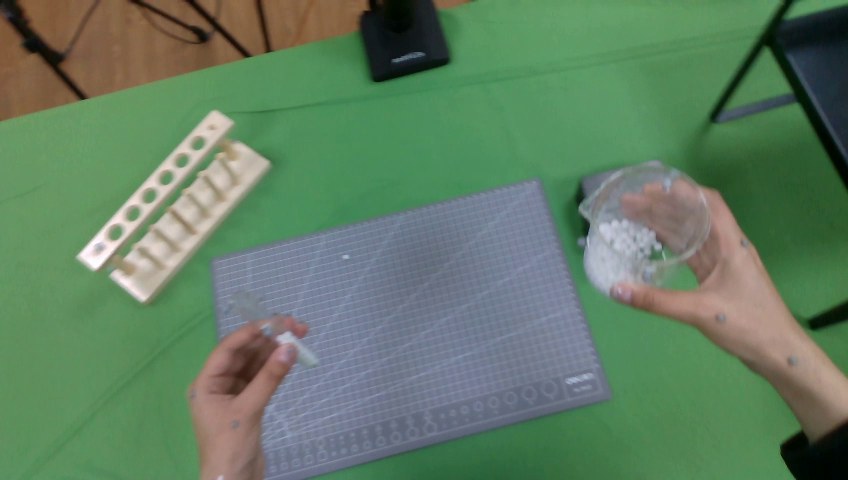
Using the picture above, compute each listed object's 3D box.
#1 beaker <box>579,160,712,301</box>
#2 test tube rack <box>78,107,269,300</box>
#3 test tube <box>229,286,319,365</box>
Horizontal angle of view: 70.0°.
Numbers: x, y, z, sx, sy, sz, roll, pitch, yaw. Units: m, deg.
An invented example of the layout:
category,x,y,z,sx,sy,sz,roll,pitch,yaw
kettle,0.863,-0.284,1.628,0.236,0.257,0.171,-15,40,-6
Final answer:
category,x,y,z,sx,sy,sz,roll,pitch,yaw
beaker,0.152,-0.001,0.442,0.084,0.101,0.073,9,69,13
test tube rack,-0.316,-0.047,0.785,0.066,0.086,0.242,33,76,15
test tube,-0.115,0.073,0.485,0.017,0.151,0.017,-5,61,9
